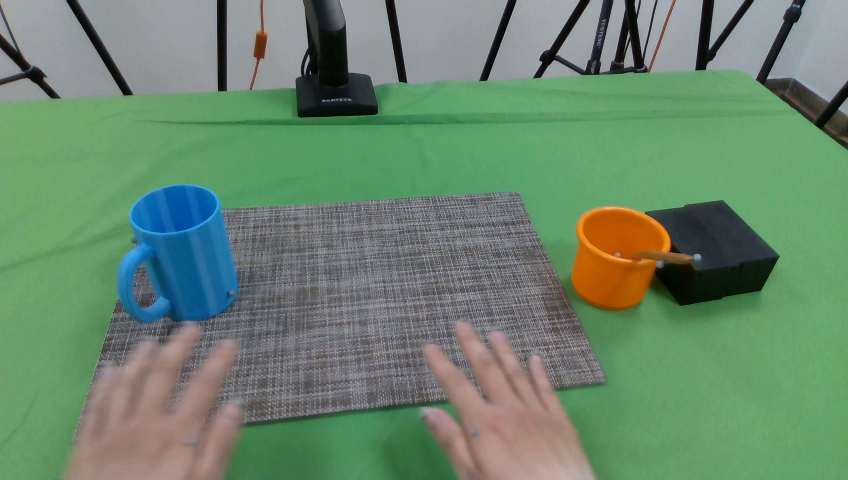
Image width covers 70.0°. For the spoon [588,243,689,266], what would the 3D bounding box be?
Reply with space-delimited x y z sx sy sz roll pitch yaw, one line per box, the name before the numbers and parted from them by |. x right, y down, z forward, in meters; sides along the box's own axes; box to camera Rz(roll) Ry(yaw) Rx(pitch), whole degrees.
spoon | 0.200 0.011 0.573 0.041 0.194 0.021 6 85 -2

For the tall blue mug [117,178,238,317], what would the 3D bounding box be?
tall blue mug | -0.225 0.017 0.562 0.078 0.109 0.106 2 40 -3
